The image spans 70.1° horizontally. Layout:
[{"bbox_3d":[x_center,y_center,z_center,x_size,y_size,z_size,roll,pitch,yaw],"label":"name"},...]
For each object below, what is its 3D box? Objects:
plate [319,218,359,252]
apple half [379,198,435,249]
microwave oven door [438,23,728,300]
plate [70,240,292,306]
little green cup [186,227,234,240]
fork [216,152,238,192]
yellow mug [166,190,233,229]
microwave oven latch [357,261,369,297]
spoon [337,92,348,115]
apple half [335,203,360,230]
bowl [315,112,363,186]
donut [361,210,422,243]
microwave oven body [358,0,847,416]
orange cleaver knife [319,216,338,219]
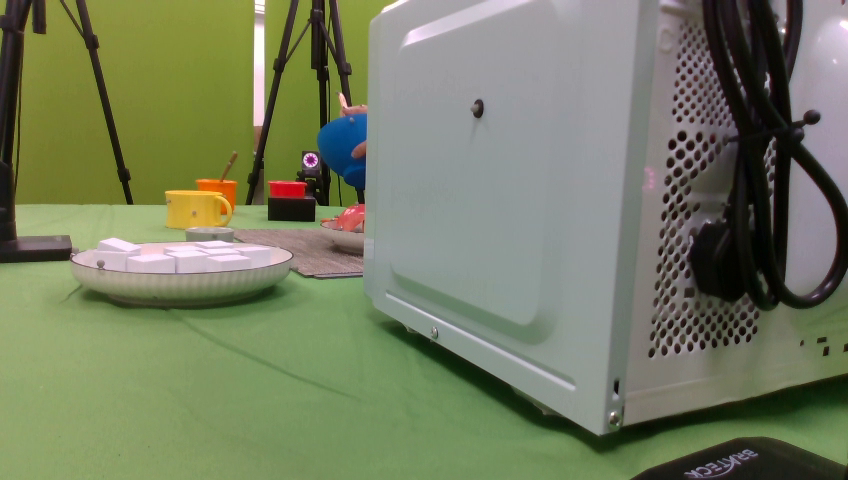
[{"bbox_3d":[-0.059,-0.007,0.939,0.209,0.038,0.209,3,8,0],"label":"plate"},{"bbox_3d":[-0.020,-0.030,0.891,0.081,0.053,0.074,-2,49,-26],"label":"apple half"},{"bbox_3d":[0.181,-0.072,0.621,0.358,0.243,0.039,-2,8,-29],"label":"microwave oven door"},{"bbox_3d":[-0.242,0.032,0.618,0.208,0.039,0.207,2,8,0],"label":"plate"},{"bbox_3d":[-0.285,0.005,0.805,0.061,0.038,0.061,2,8,0],"label":"little green cup"},{"bbox_3d":[-0.455,-0.132,1.367,0.028,0.018,0.207,-2,-35,-37],"label":"fork"},{"bbox_3d":[-0.415,-0.057,1.132,0.130,0.064,0.100,6,8,16],"label":"yellow mug"},{"bbox_3d":[-0.019,0.033,0.531,0.079,0.029,0.030,-1,7,-28],"label":"microwave oven latch"},{"bbox_3d":[-0.144,-0.216,1.111,0.042,0.021,0.193,17,43,-30],"label":"spoon"},{"bbox_3d":[-0.116,-0.038,0.959,0.081,0.033,0.081,-37,8,7],"label":"apple half"},{"bbox_3d":[-0.102,-0.140,1.006,0.151,0.076,0.151,-8,-19,-2],"label":"bowl"},{"bbox_3d":[-0.050,-0.020,0.959,0.099,0.048,0.099,5,8,0],"label":"donut"},{"bbox_3d":[0.211,-0.047,0.474,0.444,0.260,0.324,-1,7,-28],"label":"microwave oven body"},{"bbox_3d":[-0.142,-0.057,1.394,0.077,0.012,0.212,2,7,44],"label":"orange cleaver knife"}]
